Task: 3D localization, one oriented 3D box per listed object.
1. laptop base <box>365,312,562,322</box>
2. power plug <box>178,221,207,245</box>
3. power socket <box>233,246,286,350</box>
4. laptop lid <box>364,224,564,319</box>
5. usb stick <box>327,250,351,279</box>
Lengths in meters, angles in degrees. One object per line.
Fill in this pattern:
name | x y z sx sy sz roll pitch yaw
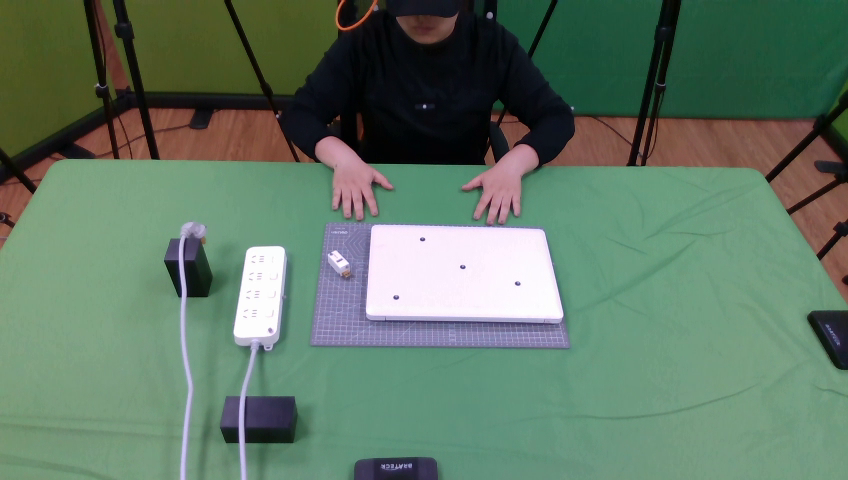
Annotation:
laptop base | 0.070 0.063 1.145 0.354 0.023 0.234 1 43 -3
power plug | -0.413 -0.003 1.070 0.035 0.053 0.072 -1 41 24
power socket | -0.290 0.094 1.077 0.072 0.033 0.225 -2 46 -5
laptop lid | 0.070 0.053 1.138 0.357 0.013 0.240 3 44 -2
usb stick | -0.158 0.048 1.133 0.021 0.027 0.059 -29 57 -27
